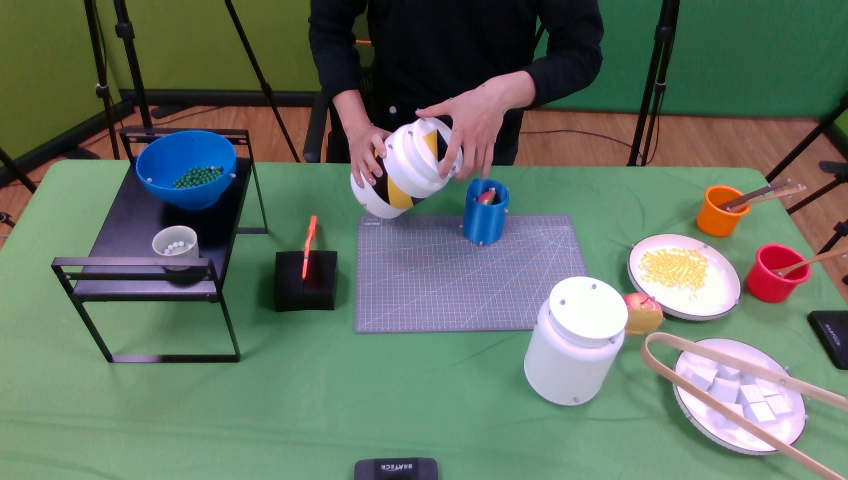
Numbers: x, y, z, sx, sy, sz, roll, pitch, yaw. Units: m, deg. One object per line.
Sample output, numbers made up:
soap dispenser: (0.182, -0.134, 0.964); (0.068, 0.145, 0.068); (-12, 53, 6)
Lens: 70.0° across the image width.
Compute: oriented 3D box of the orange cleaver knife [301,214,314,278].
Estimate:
orange cleaver knife: (-0.218, 0.008, 1.131); (0.012, 0.077, 0.210); (7, 19, -9)

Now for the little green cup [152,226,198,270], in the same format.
little green cup: (-0.364, 0.013, 0.894); (0.061, 0.039, 0.061); (3, 46, -3)

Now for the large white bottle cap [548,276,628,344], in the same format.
large white bottle cap: (0.240, 0.100, 0.890); (0.115, 0.018, 0.114); (3, 47, -3)

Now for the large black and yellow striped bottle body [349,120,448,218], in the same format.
large black and yellow striped bottle body: (-0.035, -0.132, 1.105); (0.131, 0.184, 0.130); (22, 56, -35)

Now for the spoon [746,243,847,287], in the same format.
spoon: (0.702, 0.043, 1.126); (0.194, 0.022, 0.041); (-29, 38, 30)

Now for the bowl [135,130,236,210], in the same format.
bowl: (-0.375, -0.102, 0.977); (0.151, 0.077, 0.150); (2, 46, -2)

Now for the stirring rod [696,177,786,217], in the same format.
stirring rod: (0.648, -0.087, 1.244); (0.176, 0.006, 0.014); (-25, 50, 29)

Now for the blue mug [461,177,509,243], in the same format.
blue mug: (0.114, -0.069, 1.210); (0.082, 0.106, 0.115); (-12, 48, -15)

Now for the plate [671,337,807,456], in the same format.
plate: (0.503, 0.254, 0.984); (0.208, 0.039, 0.206); (2, 46, -2)

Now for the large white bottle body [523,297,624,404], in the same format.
large white bottle body: (0.235, 0.159, 0.952); (0.131, 0.185, 0.130); (2, 47, -2)

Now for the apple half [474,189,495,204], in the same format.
apple half: (0.109, -0.067, 1.200); (0.033, 0.081, 0.081); (27, 50, 11)

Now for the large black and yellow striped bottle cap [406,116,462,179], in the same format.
large black and yellow striped bottle cap: (0.019, -0.161, 1.048); (0.115, 0.019, 0.114); (21, 55, -34)

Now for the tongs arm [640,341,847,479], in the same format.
tongs arm: (0.500, 0.278, 0.920); (0.386, 0.028, 0.028); (34, 59, 22)

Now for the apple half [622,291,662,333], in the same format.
apple half: (0.372, 0.124, 1.073); (0.081, 0.075, 0.053); (0, 42, 1)

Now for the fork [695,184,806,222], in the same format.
fork: (0.658, -0.074, 1.229); (0.207, 0.019, 0.028); (-24, 34, 36)

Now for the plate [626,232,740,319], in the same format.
plate: (0.489, 0.070, 1.157); (0.209, 0.038, 0.208); (3, 46, -3)

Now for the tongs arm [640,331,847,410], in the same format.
tongs arm: (0.543, 0.226, 0.969); (0.384, 0.026, 0.050); (22, 53, 13)
